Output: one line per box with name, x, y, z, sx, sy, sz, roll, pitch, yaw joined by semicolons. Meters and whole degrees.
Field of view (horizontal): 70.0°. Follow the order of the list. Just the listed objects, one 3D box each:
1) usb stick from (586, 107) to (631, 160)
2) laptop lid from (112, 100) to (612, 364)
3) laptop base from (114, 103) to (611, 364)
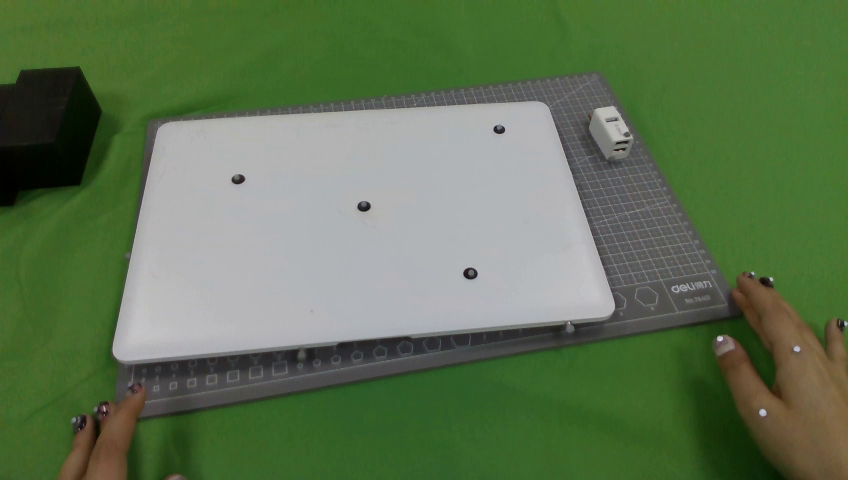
usb stick;0.167;-0.103;0.558;0.021;0.027;0.058;-9;50;-8
laptop lid;-0.049;-0.024;0.484;0.357;0.013;0.239;-3;55;-4
laptop base;-0.049;-0.019;0.495;0.355;0.023;0.233;-4;56;-5
